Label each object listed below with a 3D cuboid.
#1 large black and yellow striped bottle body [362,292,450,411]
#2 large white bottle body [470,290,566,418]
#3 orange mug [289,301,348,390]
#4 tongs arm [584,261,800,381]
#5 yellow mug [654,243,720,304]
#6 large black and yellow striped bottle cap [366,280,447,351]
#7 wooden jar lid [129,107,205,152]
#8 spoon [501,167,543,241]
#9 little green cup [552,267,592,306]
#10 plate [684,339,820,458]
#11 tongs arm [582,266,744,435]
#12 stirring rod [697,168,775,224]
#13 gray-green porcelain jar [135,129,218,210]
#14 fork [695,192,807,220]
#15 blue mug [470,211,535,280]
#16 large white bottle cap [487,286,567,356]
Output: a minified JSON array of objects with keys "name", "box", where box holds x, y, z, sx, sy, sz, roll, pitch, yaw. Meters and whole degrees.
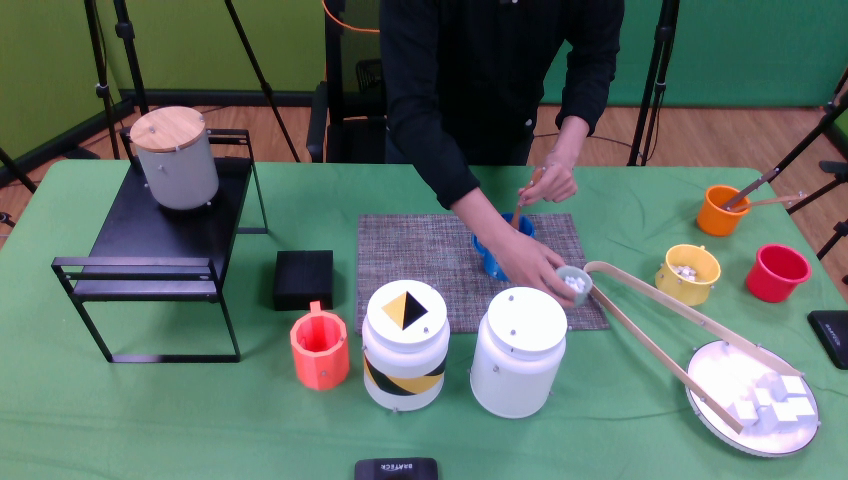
[{"name":"large black and yellow striped bottle body","box":[-0.029,0.163,0.928,0.131,0.185,0.130,2,47,-2]},{"name":"large white bottle body","box":[0.143,0.173,0.930,0.131,0.185,0.130,2,46,-2]},{"name":"orange mug","box":[-0.170,0.162,0.976,0.083,0.101,0.125,-7,52,-11]},{"name":"tongs arm","box":[0.452,0.137,1.064,0.051,0.027,0.382,-34,50,-27]},{"name":"yellow mug","box":[0.504,0.054,1.154,0.099,0.064,0.130,28,49,22]},{"name":"large black and yellow striped bottle cap","box":[-0.025,0.106,0.865,0.115,0.019,0.114,2,46,-1]},{"name":"wooden jar lid","box":[-0.385,-0.163,0.915,0.108,0.021,0.107,2,47,-2]},{"name":"spoon","box":[0.171,-0.056,1.083,0.042,0.194,0.021,-3,44,-20]},{"name":"little green cup","box":[0.240,0.078,0.992,0.061,0.039,0.061,7,39,-5]},{"name":"plate","box":[0.523,0.256,0.982,0.208,0.039,0.206,2,46,-2]},{"name":"tongs arm","box":[0.384,0.173,1.029,0.028,0.028,0.385,-25,46,-15]},{"name":"stirring rod","box":[0.644,-0.090,1.252,0.176,0.006,0.014,-39,53,16]},{"name":"gray-green porcelain jar","box":[-0.388,-0.120,0.960,0.106,0.127,0.105,2,46,-2]},{"name":"fork","box":[0.655,-0.069,1.224,0.207,0.019,0.028,-17,34,45]},{"name":"blue mug","box":[0.142,0.005,1.139,0.116,0.106,0.082,20,49,14]},{"name":"large white bottle cap","box":[0.147,0.114,0.869,0.115,0.018,0.114,3,46,-3]}]
